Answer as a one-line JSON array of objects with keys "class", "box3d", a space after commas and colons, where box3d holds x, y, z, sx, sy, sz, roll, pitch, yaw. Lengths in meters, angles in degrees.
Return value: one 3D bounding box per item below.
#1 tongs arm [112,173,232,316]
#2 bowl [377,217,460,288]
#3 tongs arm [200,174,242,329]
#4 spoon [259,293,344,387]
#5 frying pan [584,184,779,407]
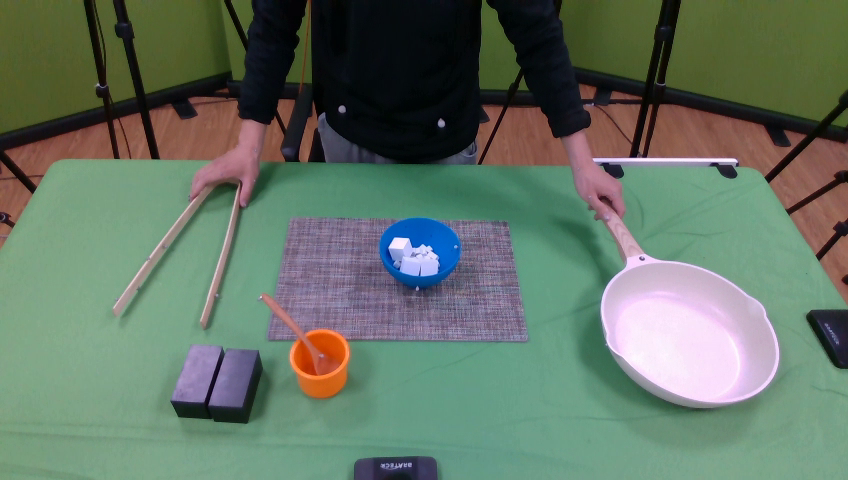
[{"class": "tongs arm", "box3d": [-0.467, -0.005, 1.157, 0.051, 0.026, 0.382, 11, 45, 4]}, {"class": "bowl", "box3d": [-0.011, 0.036, 1.118, 0.151, 0.077, 0.150, 2, 46, -2]}, {"class": "tongs arm", "box3d": [-0.387, 0.008, 1.158, 0.028, 0.028, 0.385, -1, 46, -3]}, {"class": "spoon", "box3d": [-0.191, 0.155, 0.947, 0.021, 0.194, 0.041, -13, 28, 50]}, {"class": "frying pan", "box3d": [0.412, 0.079, 1.097, 0.307, 0.103, 0.484, -10, 56, -15]}]
